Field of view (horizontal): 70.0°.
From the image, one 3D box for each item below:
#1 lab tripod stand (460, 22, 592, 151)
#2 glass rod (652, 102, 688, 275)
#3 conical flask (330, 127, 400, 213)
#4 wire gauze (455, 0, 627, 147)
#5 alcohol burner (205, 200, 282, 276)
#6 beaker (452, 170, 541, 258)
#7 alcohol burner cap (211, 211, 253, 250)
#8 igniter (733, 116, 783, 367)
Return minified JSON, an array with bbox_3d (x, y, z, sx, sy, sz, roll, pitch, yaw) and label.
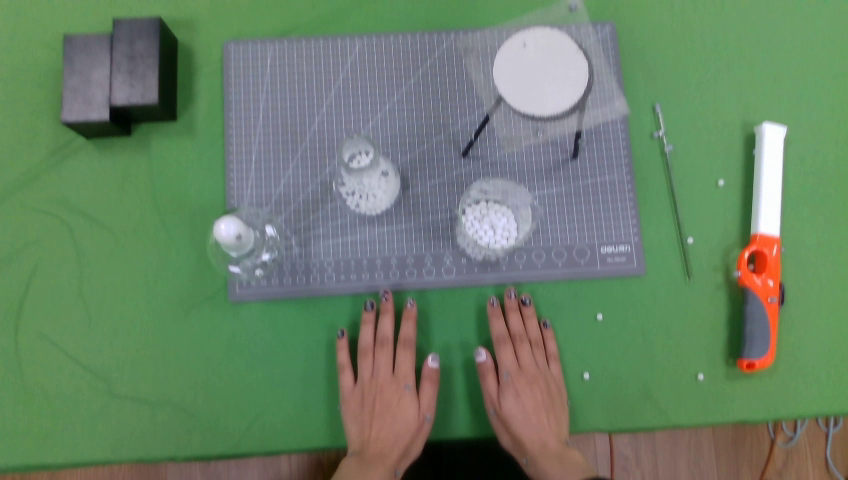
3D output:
[{"bbox_3d":[0.106,-0.145,0.616,0.148,0.132,0.148,0,83,-1],"label":"lab tripod stand"},{"bbox_3d":[0.273,-0.059,0.674,0.008,0.008,0.199,-6,81,-3],"label":"glass rod"},{"bbox_3d":[-0.063,-0.075,0.607,0.075,0.122,0.075,0,81,-1],"label":"conical flask"},{"bbox_3d":[0.106,-0.157,0.550,0.125,0.011,0.121,-20,84,-3],"label":"wire gauze"},{"bbox_3d":[-0.181,-0.004,0.598,0.078,0.119,0.077,0,82,-3],"label":"alcohol burner"},{"bbox_3d":[0.068,-0.022,0.615,0.084,0.100,0.073,-5,82,-3],"label":"beaker"},{"bbox_3d":[-0.180,-0.011,0.562,0.034,0.048,0.033,1,79,-6],"label":"alcohol burner cap"},{"bbox_3d":[0.365,0.000,0.659,0.057,0.025,0.275,10,82,-10],"label":"igniter"}]
